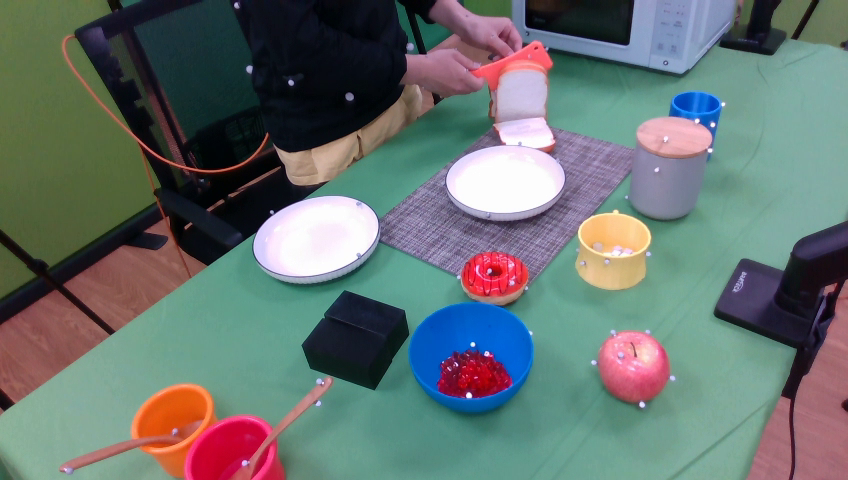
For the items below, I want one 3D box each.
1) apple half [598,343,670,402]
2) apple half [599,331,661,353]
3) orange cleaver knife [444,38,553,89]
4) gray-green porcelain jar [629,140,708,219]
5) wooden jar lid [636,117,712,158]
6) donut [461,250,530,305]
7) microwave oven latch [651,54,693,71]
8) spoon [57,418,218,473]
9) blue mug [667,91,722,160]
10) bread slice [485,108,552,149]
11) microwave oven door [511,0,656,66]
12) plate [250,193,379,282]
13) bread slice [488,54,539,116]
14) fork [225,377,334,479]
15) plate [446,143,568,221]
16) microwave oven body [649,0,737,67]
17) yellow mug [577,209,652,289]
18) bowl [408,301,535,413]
[{"bbox_3d":[0.247,0.161,0.710,0.081,0.075,0.053,2,47,5],"label":"apple half"},{"bbox_3d":[0.249,0.134,0.738,0.081,0.081,0.032,-2,46,7],"label":"apple half"},{"bbox_3d":[0.146,-0.334,1.191,0.211,0.078,0.012,-16,44,12],"label":"orange cleaver knife"},{"bbox_3d":[0.383,-0.105,0.958,0.106,0.127,0.105,-4,41,4],"label":"gray-green porcelain jar"},{"bbox_3d":[0.377,-0.151,0.917,0.108,0.021,0.108,-2,41,3],"label":"wooden jar lid"},{"bbox_3d":[0.103,0.053,0.872,0.099,0.048,0.098,-5,40,4],"label":"donut"},{"bbox_3d":[0.532,-0.386,1.301,0.078,0.029,0.030,26,52,34],"label":"microwave oven latch"},{"bbox_3d":[-0.304,0.221,0.661,0.041,0.195,0.021,21,93,27],"label":"spoon"},{"bbox_3d":[0.474,-0.207,1.079,0.082,0.106,0.116,4,42,13],"label":"blue mug"},{"bbox_3d":[0.186,-0.204,1.166,0.105,0.019,0.130,-19,41,0],"label":"bread slice"},{"bbox_3d":[0.351,-0.540,1.349,0.353,0.245,0.039,24,50,31],"label":"microwave oven door"},{"bbox_3d":[-0.174,-0.001,0.984,0.209,0.038,0.208,-4,40,4],"label":"plate"},{"bbox_3d":[0.183,-0.314,1.229,0.107,0.135,0.018,-4,43,2],"label":"bread slice"},{"bbox_3d":[-0.163,0.216,0.646,0.207,0.019,0.028,-49,42,16],"label":"fork"},{"bbox_3d":[0.142,-0.097,1.045,0.207,0.039,0.206,-4,40,4],"label":"plate"},{"bbox_3d":[0.475,-0.602,1.411,0.438,0.261,0.327,23,50,32],"label":"microwave oven body"},{"bbox_3d":[0.279,0.004,0.893,0.099,0.064,0.130,5,41,15],"label":"yellow mug"},{"bbox_3d":[0.060,0.156,0.739,0.151,0.077,0.150,-4,40,4],"label":"bowl"}]
